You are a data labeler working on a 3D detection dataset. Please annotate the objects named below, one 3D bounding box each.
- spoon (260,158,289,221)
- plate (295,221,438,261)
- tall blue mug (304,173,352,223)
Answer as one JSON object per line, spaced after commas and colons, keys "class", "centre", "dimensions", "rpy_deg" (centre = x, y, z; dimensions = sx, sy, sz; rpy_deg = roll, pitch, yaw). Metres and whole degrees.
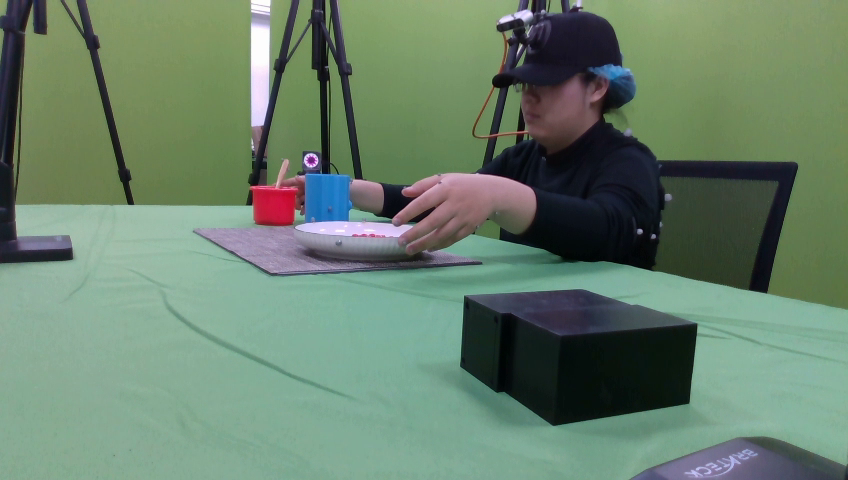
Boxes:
{"class": "spoon", "centre": [-0.308, -0.110, 1.276], "dimensions": [0.041, 0.021, 0.193], "rpy_deg": [0, 51, 6]}
{"class": "plate", "centre": [-0.083, 0.001, 0.885], "dimensions": [0.208, 0.039, 0.207], "rpy_deg": [2, 7, 0]}
{"class": "tall blue mug", "centre": [-0.178, -0.062, 1.062], "dimensions": [0.078, 0.108, 0.106], "rpy_deg": [-4, 10, -38]}
